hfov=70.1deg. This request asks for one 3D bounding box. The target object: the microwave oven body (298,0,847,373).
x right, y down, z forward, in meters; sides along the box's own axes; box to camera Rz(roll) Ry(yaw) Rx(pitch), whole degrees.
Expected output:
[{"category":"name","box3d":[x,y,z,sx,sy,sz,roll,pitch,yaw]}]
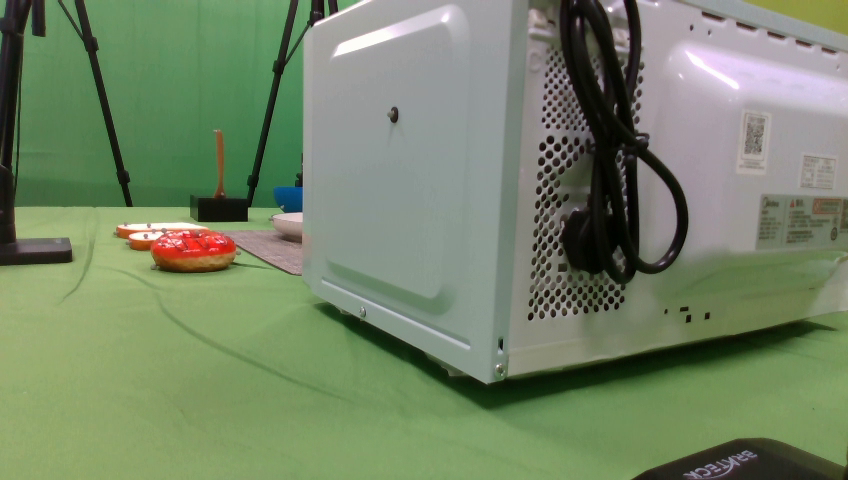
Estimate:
[{"category":"microwave oven body","box3d":[0.151,-0.055,0.543,0.444,0.260,0.324,-1,8,-33]}]

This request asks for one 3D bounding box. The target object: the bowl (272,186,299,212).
[{"category":"bowl","box3d":[-0.254,-0.075,1.318,0.151,0.077,0.151,2,7,0]}]

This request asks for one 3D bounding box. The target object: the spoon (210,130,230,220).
[{"category":"spoon","box3d":[-0.436,-0.138,1.295,0.042,0.193,0.021,-3,23,-28]}]

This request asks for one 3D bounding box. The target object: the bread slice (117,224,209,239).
[{"category":"bread slice","box3d":[-0.443,-0.015,1.023,0.132,0.019,0.104,-4,9,-45]}]

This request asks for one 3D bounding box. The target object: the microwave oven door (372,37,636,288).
[{"category":"microwave oven door","box3d":[0.110,-0.080,0.686,0.358,0.243,0.039,-2,9,-33]}]

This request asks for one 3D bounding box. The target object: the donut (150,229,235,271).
[{"category":"donut","box3d":[-0.285,0.013,0.747,0.099,0.048,0.099,3,10,0]}]

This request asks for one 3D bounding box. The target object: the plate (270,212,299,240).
[{"category":"plate","box3d":[-0.162,-0.022,1.058,0.208,0.039,0.207,2,7,0]}]

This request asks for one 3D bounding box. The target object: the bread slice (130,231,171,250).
[{"category":"bread slice","box3d":[-0.370,0.001,0.916,0.135,0.018,0.106,-1,7,-32]}]

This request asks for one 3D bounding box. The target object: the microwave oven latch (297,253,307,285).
[{"category":"microwave oven latch","box3d":[-0.082,0.027,0.582,0.079,0.029,0.030,-1,7,-33]}]
